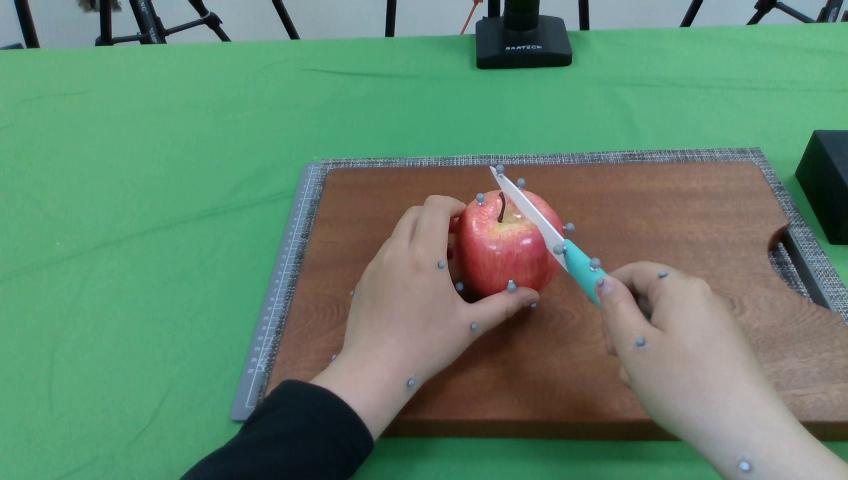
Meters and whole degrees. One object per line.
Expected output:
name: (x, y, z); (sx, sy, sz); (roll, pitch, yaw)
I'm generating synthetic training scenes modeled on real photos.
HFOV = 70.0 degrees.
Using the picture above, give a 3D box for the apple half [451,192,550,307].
apple half: (0.048, 0.013, 0.438); (0.053, 0.075, 0.080); (-24, 53, -15)

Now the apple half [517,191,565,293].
apple half: (0.083, -0.001, 0.449); (0.033, 0.082, 0.080); (-23, 46, -15)

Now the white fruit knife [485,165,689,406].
white fruit knife: (0.092, 0.014, 0.383); (0.016, 0.028, 0.205); (-21, 51, -18)
